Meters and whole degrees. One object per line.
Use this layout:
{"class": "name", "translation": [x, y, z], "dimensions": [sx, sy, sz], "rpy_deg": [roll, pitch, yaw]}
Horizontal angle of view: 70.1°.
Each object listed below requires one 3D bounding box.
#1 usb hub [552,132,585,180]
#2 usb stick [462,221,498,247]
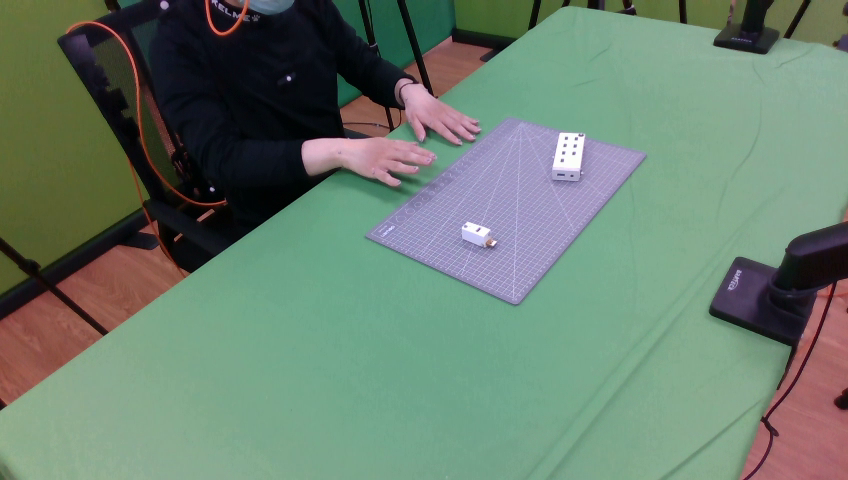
{"class": "usb hub", "translation": [0.266, -0.154, 1.103], "dimensions": [0.049, 0.025, 0.125], "rpy_deg": [6, 43, 15]}
{"class": "usb stick", "translation": [0.089, -0.007, 0.956], "dimensions": [0.059, 0.027, 0.021], "rpy_deg": [24, 48, 28]}
